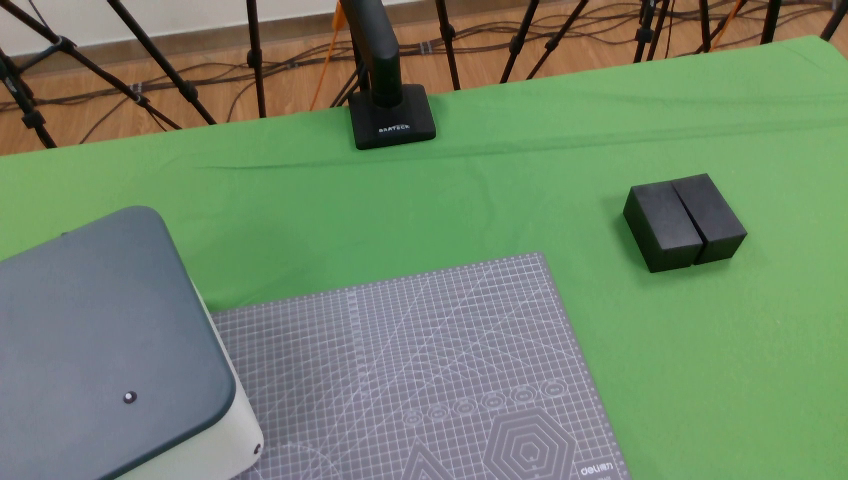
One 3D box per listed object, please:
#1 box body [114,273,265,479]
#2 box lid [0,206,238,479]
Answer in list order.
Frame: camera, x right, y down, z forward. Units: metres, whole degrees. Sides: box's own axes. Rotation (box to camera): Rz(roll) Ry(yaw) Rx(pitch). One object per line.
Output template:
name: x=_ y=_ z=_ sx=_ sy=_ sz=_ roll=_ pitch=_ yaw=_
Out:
box body: x=-0.364 y=0.169 z=0.569 sx=0.364 sy=0.162 sz=0.251 roll=-27 pitch=58 yaw=-16
box lid: x=-0.365 y=0.124 z=0.509 sx=0.372 sy=0.015 sz=0.260 roll=-27 pitch=58 yaw=-17
